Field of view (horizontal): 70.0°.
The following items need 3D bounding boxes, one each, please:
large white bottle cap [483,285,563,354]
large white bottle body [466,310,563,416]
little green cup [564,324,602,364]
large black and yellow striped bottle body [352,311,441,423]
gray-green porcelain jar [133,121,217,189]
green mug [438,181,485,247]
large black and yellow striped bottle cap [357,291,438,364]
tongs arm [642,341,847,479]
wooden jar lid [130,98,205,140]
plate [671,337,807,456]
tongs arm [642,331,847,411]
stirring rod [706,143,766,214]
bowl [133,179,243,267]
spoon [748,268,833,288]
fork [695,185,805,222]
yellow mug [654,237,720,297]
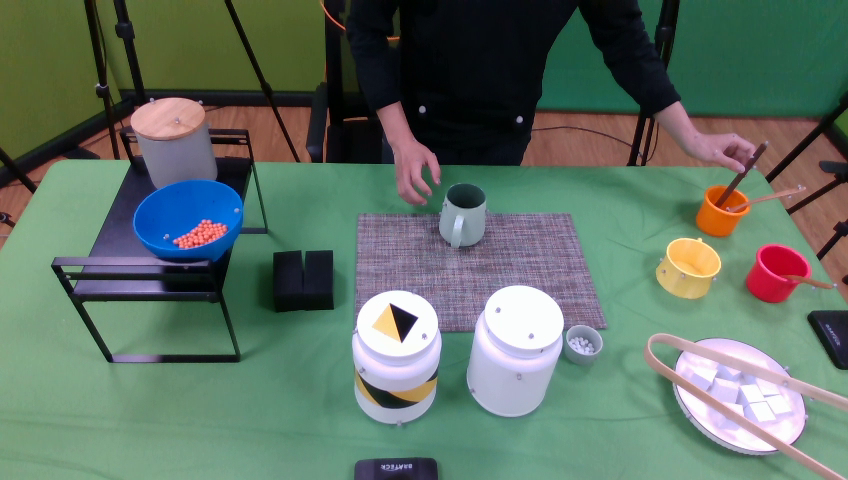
[{"bbox_3d":[0.142,0.112,0.871,0.115,0.018,0.114,3,46,-2],"label":"large white bottle cap"},{"bbox_3d":[0.138,0.171,0.932,0.131,0.185,0.130,2,46,-2],"label":"large white bottle body"},{"bbox_3d":[0.269,0.179,1.035,0.061,0.039,0.061,2,45,-2],"label":"little green cup"},{"bbox_3d":[-0.042,0.177,0.913,0.131,0.185,0.130,2,47,-2],"label":"large black and yellow striped bottle body"},{"bbox_3d":[-0.397,-0.141,0.980,0.106,0.127,0.105,2,47,-2],"label":"gray-green porcelain jar"},{"bbox_3d":[0.071,-0.039,1.177,0.092,0.105,0.124,12,47,7],"label":"green mug"},{"bbox_3d":[-0.037,0.121,0.851,0.115,0.019,0.114,2,46,-1],"label":"large black and yellow striped bottle cap"},{"bbox_3d":[0.504,0.278,0.917,0.386,0.028,0.028,34,59,22],"label":"tongs arm"},{"bbox_3d":[-0.393,-0.183,0.934,0.108,0.021,0.107,3,44,-2],"label":"wooden jar lid"},{"bbox_3d":[0.503,0.254,0.984,0.208,0.039,0.206,2,46,-2],"label":"plate"},{"bbox_3d":[0.546,0.227,0.968,0.384,0.026,0.050,22,52,13],"label":"tongs arm"},{"bbox_3d":[0.631,-0.122,1.229,0.006,0.176,0.014,3,42,-28],"label":"stirring rod"},{"bbox_3d":[-0.339,-0.013,0.895,0.151,0.077,0.150,2,46,-2],"label":"bowl"},{"bbox_3d":[0.660,0.068,1.097,0.041,0.193,0.021,-3,91,-6],"label":"spoon"},{"bbox_3d":[0.657,-0.074,1.230,0.207,0.019,0.028,-23,33,37],"label":"fork"},{"bbox_3d":[0.509,0.041,1.167,0.099,0.064,0.130,24,48,18],"label":"yellow mug"}]
